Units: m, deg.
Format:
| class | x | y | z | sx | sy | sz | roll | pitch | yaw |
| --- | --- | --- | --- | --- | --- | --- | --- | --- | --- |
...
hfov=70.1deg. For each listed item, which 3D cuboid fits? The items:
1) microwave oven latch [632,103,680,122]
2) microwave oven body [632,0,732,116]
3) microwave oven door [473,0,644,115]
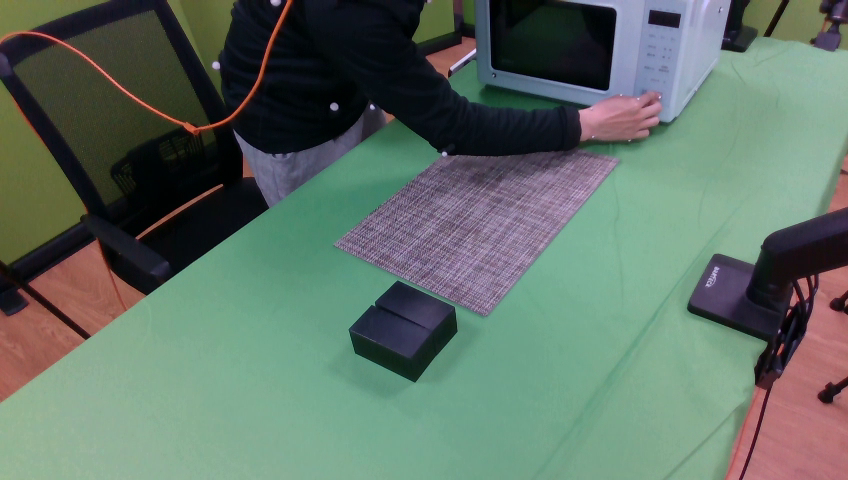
| class | x | y | z | sx | sy | sz | roll | pitch | yaw |
| --- | --- | --- | --- | --- | --- | --- | --- | --- | --- |
| microwave oven latch | 0.443 | -0.249 | 1.158 | 0.078 | 0.029 | 0.030 | 20 | 48 | 29 |
| microwave oven body | 0.377 | -0.463 | 1.267 | 0.438 | 0.261 | 0.327 | 21 | 49 | 30 |
| microwave oven door | 0.257 | -0.396 | 1.199 | 0.353 | 0.245 | 0.039 | 21 | 48 | 29 |
